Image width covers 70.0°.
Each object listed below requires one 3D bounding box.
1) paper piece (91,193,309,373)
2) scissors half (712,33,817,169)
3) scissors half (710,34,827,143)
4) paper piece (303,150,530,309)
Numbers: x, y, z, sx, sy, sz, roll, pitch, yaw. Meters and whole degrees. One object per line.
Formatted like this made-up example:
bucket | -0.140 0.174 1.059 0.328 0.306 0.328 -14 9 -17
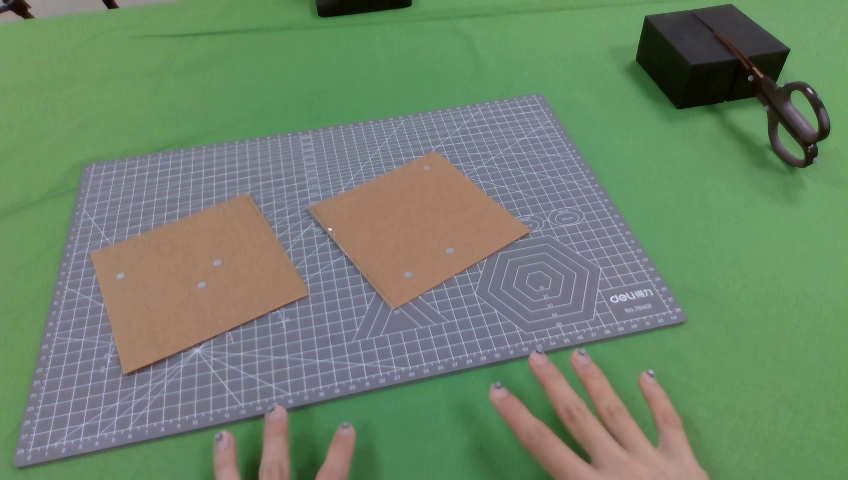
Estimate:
paper piece | -0.177 0.024 0.468 0.136 0.004 0.134 -23 50 -20
scissors half | 0.310 -0.135 0.565 0.013 0.040 0.173 -16 61 -1
scissors half | 0.306 -0.147 0.550 0.013 0.040 0.173 -19 44 3
paper piece | -0.008 -0.017 0.503 0.138 0.009 0.134 -27 55 -23
